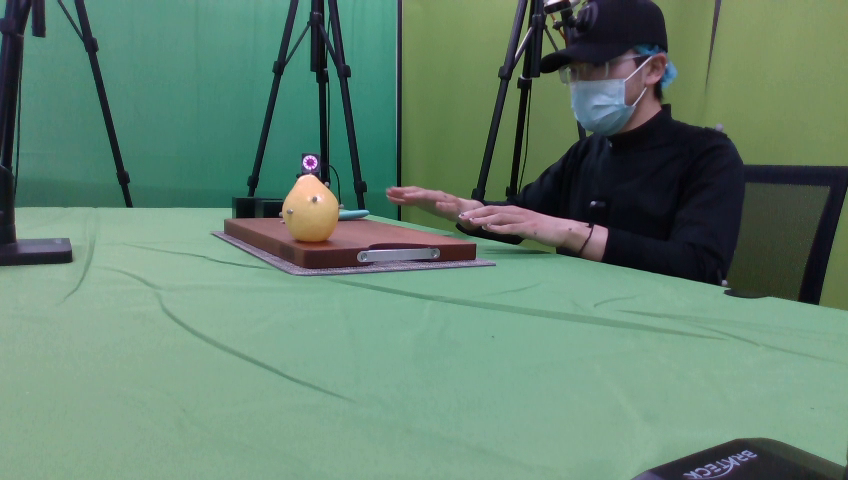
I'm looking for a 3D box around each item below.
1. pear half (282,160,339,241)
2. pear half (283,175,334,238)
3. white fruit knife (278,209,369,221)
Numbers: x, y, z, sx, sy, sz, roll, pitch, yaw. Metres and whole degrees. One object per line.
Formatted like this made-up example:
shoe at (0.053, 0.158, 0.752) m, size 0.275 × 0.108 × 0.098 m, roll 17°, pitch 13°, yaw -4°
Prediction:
pear half at (-0.151, -0.052, 0.812) m, size 0.077 × 0.110 × 0.055 m, roll -5°, pitch 10°, yaw -22°
pear half at (-0.164, -0.047, 0.847) m, size 0.071 × 0.088 × 0.031 m, roll -9°, pitch 12°, yaw -23°
white fruit knife at (-0.182, -0.044, 1.104) m, size 0.027 × 0.016 × 0.208 m, roll -9°, pitch -1°, yaw 39°
